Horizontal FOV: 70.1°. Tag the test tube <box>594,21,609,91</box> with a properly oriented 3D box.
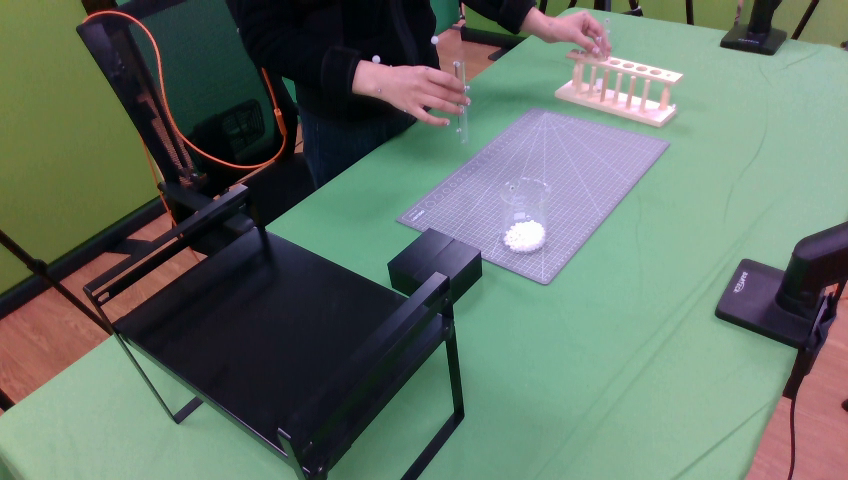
[{"bbox_3d":[0.361,-0.372,1.233,0.017,0.151,0.017,-4,43,4],"label":"test tube"}]

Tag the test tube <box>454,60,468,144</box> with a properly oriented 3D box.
[{"bbox_3d":[0.063,-0.230,1.021,0.017,0.151,0.017,-4,38,4],"label":"test tube"}]

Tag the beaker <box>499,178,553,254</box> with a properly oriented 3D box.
[{"bbox_3d":[0.158,-0.036,0.929,0.084,0.100,0.073,-17,41,-12],"label":"beaker"}]

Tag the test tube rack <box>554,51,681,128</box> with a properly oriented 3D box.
[{"bbox_3d":[0.388,-0.311,1.234,0.240,0.085,0.067,28,52,34],"label":"test tube rack"}]
